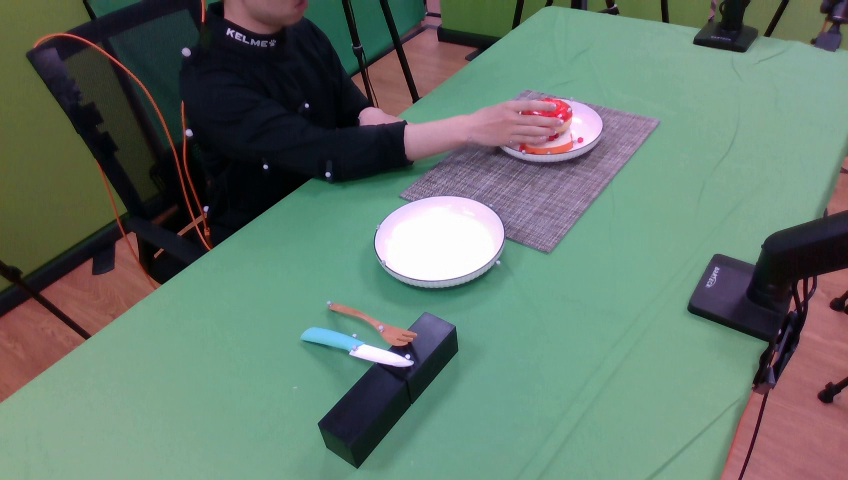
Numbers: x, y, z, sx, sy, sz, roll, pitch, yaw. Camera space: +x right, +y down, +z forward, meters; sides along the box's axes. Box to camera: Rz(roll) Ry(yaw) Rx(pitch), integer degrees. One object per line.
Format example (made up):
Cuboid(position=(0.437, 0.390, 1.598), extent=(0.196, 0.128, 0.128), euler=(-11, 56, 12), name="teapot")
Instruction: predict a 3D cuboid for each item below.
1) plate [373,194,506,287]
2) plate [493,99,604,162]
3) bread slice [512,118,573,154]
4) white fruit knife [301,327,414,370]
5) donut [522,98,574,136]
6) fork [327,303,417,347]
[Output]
Cuboid(position=(0.025, 0.003, 0.951), extent=(0.207, 0.039, 0.206), euler=(-4, 40, 4), name="plate")
Cuboid(position=(0.237, -0.206, 1.158), extent=(0.209, 0.038, 0.208), euler=(-4, 40, 4), name="plate")
Cuboid(position=(0.232, -0.204, 1.160), extent=(0.105, 0.019, 0.131), euler=(-7, 39, 1), name="bread slice")
Cuboid(position=(-0.088, 0.140, 0.781), extent=(0.205, 0.016, 0.027), euler=(8, 42, 42), name="white fruit knife")
Cuboid(position=(0.232, -0.233, 1.135), extent=(0.099, 0.048, 0.098), euler=(-4, 42, 4), name="donut")
Cuboid(position=(-0.077, 0.110, 0.811), extent=(0.028, 0.019, 0.205), euler=(-40, 33, -27), name="fork")
